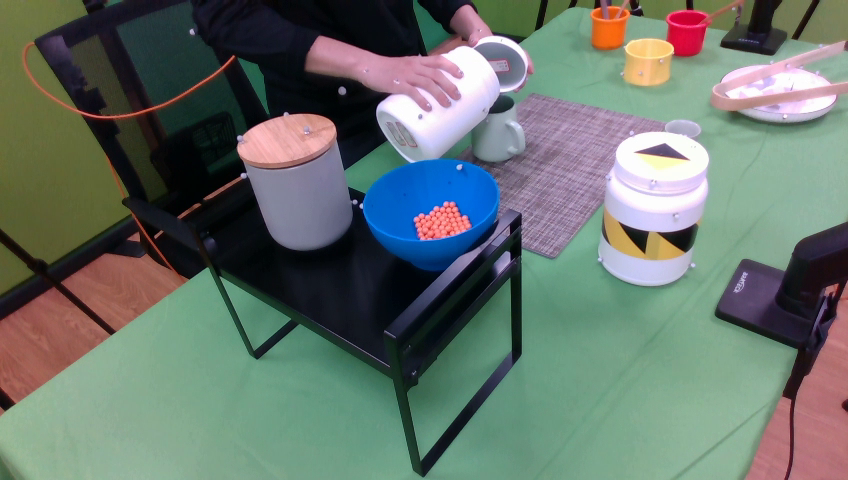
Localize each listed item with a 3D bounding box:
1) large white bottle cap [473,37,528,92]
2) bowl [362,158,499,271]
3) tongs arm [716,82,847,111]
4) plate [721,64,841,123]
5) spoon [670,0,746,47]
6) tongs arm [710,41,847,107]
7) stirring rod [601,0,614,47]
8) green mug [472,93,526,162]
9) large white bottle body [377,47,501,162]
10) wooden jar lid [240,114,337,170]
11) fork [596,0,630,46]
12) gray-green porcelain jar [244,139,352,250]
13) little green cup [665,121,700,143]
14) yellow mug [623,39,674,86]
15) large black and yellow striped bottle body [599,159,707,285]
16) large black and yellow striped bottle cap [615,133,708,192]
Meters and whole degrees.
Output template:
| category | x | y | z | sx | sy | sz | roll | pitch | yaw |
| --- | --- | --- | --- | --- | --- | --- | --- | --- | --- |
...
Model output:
| category | x | y | z | sx | sy | sz | roll | pitch | yaw |
| --- | --- | --- | --- | --- | --- | --- | --- | --- | --- |
| large white bottle cap | 0.138 | -0.328 | 1.134 | 0.114 | 0.115 | 0.018 | 9 | 57 | 19 |
| bowl | 0.011 | -0.019 | 0.679 | 0.151 | 0.077 | 0.150 | -5 | 41 | 5 |
| tongs arm | 0.738 | -0.282 | 1.134 | 0.388 | 0.028 | 0.028 | -9 | 46 | -5 |
| plate | 0.695 | -0.282 | 1.189 | 0.207 | 0.039 | 0.206 | -4 | 40 | 4 |
| spoon | 0.629 | -0.485 | 1.350 | 0.022 | 0.193 | 0.042 | 47 | 54 | -7 |
| tongs arm | 0.712 | -0.332 | 1.194 | 0.386 | 0.026 | 0.050 | -18 | 44 | -16 |
| stirring rod | 0.439 | -0.551 | 1.463 | 0.014 | 0.006 | 0.175 | -7 | 83 | 3 |
| green mug | 0.144 | -0.202 | 1.122 | 0.093 | 0.105 | 0.124 | -29 | 45 | -23 |
| large white bottle body | 0.028 | -0.227 | 1.015 | 0.185 | 0.131 | 0.129 | -42 | 50 | -15 |
| wooden jar lid | -0.149 | -0.106 | 0.673 | 0.108 | 0.021 | 0.108 | -6 | 38 | 5 |
| fork | 0.481 | -0.556 | 1.453 | 0.028 | 0.019 | 0.207 | 40 | 103 | 38 |
| gray-green porcelain jar | -0.144 | -0.060 | 0.714 | 0.106 | 0.127 | 0.105 | -4 | 41 | 4 |
| little green cup | 0.472 | -0.188 | 1.113 | 0.061 | 0.039 | 0.061 | -5 | 40 | 4 |
| yellow mug | 0.485 | -0.398 | 1.334 | 0.100 | 0.064 | 0.130 | -18 | 41 | -10 |
| large black and yellow striped bottle body | 0.320 | -0.042 | 0.854 | 0.131 | 0.185 | 0.130 | -4 | 41 | 4 |
| large black and yellow striped bottle cap | 0.312 | -0.105 | 0.798 | 0.115 | 0.019 | 0.114 | -5 | 41 | 5 |
